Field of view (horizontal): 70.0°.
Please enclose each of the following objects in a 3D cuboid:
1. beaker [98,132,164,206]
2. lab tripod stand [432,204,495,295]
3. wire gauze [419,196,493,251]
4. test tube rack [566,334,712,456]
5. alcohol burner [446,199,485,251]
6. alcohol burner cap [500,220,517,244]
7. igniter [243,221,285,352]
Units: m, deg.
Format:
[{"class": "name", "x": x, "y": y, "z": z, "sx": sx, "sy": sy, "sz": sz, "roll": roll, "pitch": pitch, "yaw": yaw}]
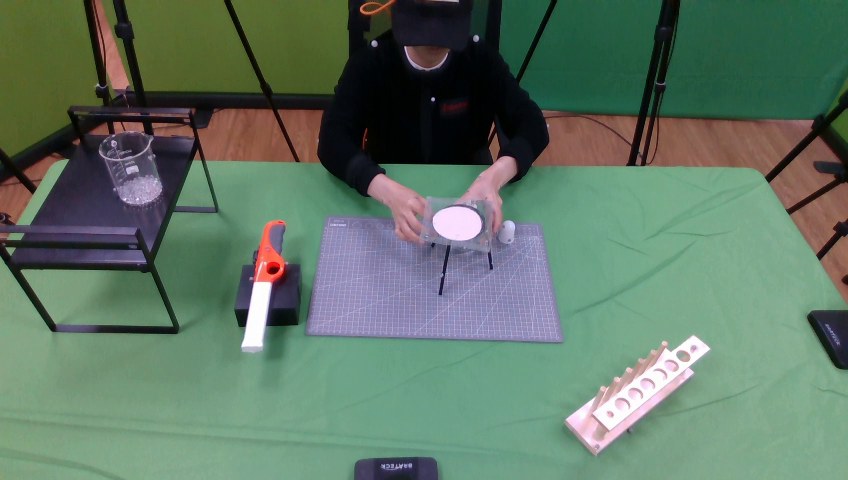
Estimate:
[{"class": "beaker", "x": -0.460, "y": -0.112, "z": 0.968, "sx": 0.073, "sy": 0.101, "sz": 0.084, "roll": 37, "pitch": 54, "yaw": 28}, {"class": "lab tripod stand", "x": 0.061, "y": 0.009, "z": 1.108, "sx": 0.148, "sy": 0.132, "sz": 0.147, "roll": 0, "pitch": 46, "yaw": 0}, {"class": "wire gauze", "x": 0.058, "y": -0.033, "z": 1.055, "sx": 0.125, "sy": 0.011, "sz": 0.121, "roll": 6, "pitch": 46, "yaw": 5}, {"class": "test tube rack", "x": 0.339, "y": 0.228, "z": 0.950, "sx": 0.242, "sy": 0.085, "sz": 0.066, "roll": -26, "pitch": 52, "yaw": -26}, {"class": "alcohol burner", "x": 0.083, "y": -0.035, "z": 1.148, "sx": 0.078, "sy": 0.119, "sz": 0.077, "roll": 6, "pitch": 48, "yaw": -7}, {"class": "alcohol burner cap", "x": 0.170, "y": -0.018, "z": 1.205, "sx": 0.034, "sy": 0.048, "sz": 0.033, "roll": 1, "pitch": 47, "yaw": -1}, {"class": "igniter", "x": -0.273, "y": 0.069, "z": 1.041, "sx": 0.057, "sy": 0.025, "sz": 0.274, "roll": 2, "pitch": 48, "yaw": -6}]
